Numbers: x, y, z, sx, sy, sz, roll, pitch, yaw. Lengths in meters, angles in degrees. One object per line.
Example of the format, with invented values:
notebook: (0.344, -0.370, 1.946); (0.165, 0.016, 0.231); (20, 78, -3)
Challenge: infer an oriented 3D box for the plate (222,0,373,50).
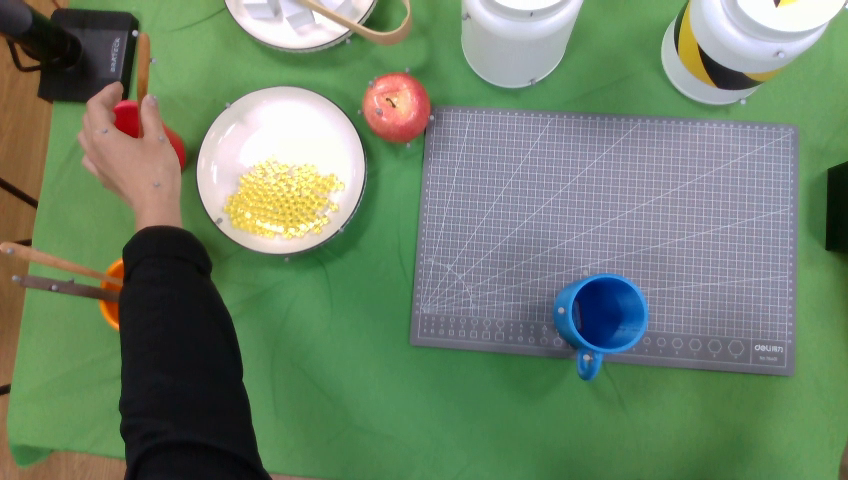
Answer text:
plate: (-0.156, -0.338, 0.769); (0.207, 0.039, 0.207); (0, 85, 3)

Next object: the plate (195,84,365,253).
plate: (-0.174, -0.086, 0.745); (0.209, 0.038, 0.208); (0, 85, 3)

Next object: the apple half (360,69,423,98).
apple half: (-0.040, -0.186, 0.729); (0.081, 0.081, 0.033); (-11, 88, 2)

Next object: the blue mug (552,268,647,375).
blue mug: (0.187, 0.092, 0.672); (0.082, 0.106, 0.116); (12, 85, 5)

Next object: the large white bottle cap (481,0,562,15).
large white bottle cap: (0.096, -0.276, 0.590); (0.115, 0.018, 0.114); (0, 84, 4)

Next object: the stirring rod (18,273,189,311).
stirring rod: (-0.356, 0.060, 0.686); (0.177, 0.006, 0.014); (16, 71, -36)

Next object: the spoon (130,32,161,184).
spoon: (-0.327, -0.147, 0.705); (0.041, 0.021, 0.195); (24, 130, 5)

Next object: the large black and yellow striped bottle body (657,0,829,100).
large black and yellow striped bottle body: (0.346, -0.243, 0.659); (0.131, 0.184, 0.130); (0, 83, 4)

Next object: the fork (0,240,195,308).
fork: (-0.362, 0.040, 0.686); (0.209, 0.018, 0.028); (25, 84, -38)

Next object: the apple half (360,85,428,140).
apple half: (-0.033, -0.148, 0.726); (0.081, 0.074, 0.053); (-10, 88, -1)

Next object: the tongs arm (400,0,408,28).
tongs arm: (-0.145, -0.402, 0.744); (0.028, 0.028, 0.386); (-42, 81, -8)

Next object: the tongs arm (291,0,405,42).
tongs arm: (-0.197, -0.336, 0.738); (0.384, 0.026, 0.050); (32, 83, 8)

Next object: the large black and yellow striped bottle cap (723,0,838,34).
large black and yellow striped bottle cap: (0.340, -0.255, 0.576); (0.115, 0.019, 0.114); (0, 86, 2)

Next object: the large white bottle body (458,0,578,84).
large white bottle body: (0.103, -0.266, 0.674); (0.130, 0.185, 0.130); (0, 83, 3)
